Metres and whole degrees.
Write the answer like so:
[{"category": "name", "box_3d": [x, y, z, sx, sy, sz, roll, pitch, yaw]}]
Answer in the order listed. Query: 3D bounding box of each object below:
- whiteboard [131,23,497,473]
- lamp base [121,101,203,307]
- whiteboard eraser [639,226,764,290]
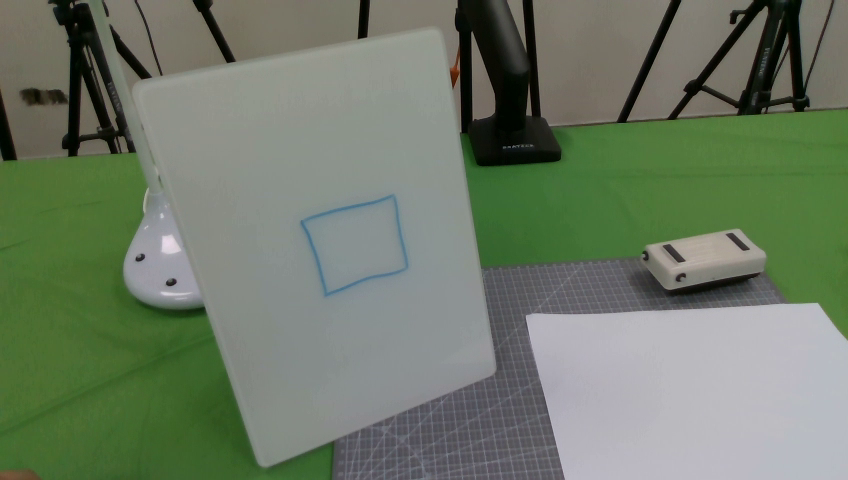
[{"category": "whiteboard", "box_3d": [-0.083, -0.005, 0.519, 0.218, 0.307, 0.142, -18, 21, -18]}, {"category": "lamp base", "box_3d": [-0.263, -0.047, 0.636, 0.177, 0.182, 0.160, 22, 44, 31]}, {"category": "whiteboard eraser", "box_3d": [0.289, 0.020, 0.634, 0.113, 0.042, 0.055, -10, 40, -10]}]
